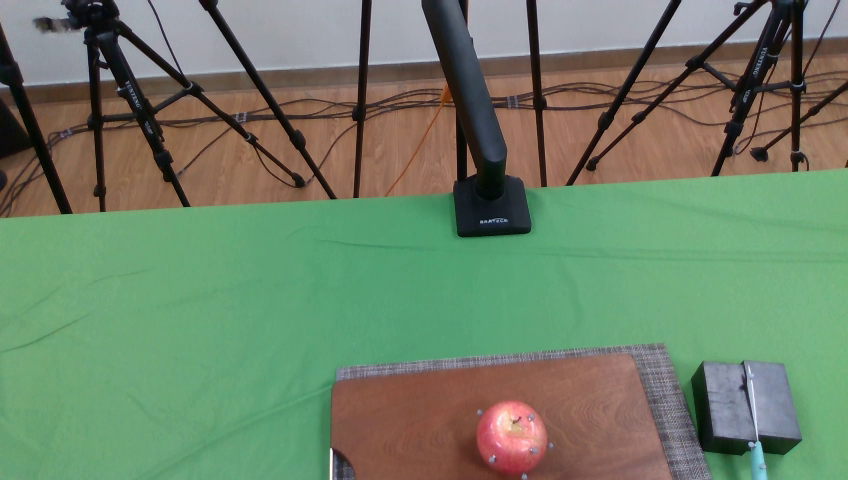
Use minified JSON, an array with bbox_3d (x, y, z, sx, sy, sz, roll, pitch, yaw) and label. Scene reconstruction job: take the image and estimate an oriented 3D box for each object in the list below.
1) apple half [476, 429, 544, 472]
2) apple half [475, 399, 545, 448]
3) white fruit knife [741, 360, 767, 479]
[{"bbox_3d":[0.096,0.248,0.690,0.081,0.082,0.032,6,48,7],"label":"apple half"},{"bbox_3d":[0.102,0.218,0.714,0.080,0.075,0.053,3,48,10],"label":"apple half"},{"bbox_3d":[0.389,0.244,0.715,0.016,0.027,0.206,4,67,4],"label":"white fruit knife"}]
